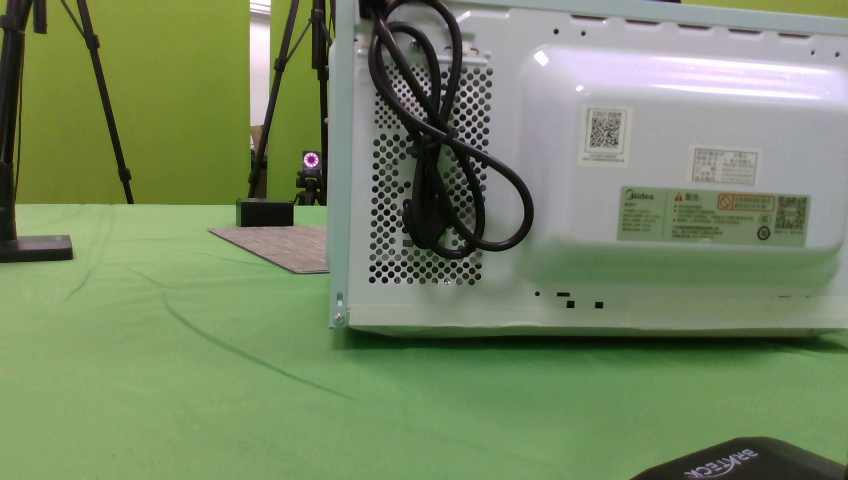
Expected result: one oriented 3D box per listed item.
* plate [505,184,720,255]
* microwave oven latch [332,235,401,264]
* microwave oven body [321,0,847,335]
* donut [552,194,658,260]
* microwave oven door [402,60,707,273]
[{"bbox_3d":[0.185,-0.022,0.616,0.209,0.038,0.209,4,14,-1],"label":"plate"},{"bbox_3d":[-0.066,0.010,0.700,0.079,0.029,0.030,2,7,-7],"label":"microwave oven latch"},{"bbox_3d":[0.133,-0.062,0.568,0.443,0.260,0.325,2,7,-8],"label":"microwave oven body"},{"bbox_3d":[0.171,-0.016,0.576,0.099,0.048,0.099,-10,16,3],"label":"donut"},{"bbox_3d":[0.156,-0.087,0.737,0.356,0.243,0.039,2,7,-2],"label":"microwave oven door"}]
